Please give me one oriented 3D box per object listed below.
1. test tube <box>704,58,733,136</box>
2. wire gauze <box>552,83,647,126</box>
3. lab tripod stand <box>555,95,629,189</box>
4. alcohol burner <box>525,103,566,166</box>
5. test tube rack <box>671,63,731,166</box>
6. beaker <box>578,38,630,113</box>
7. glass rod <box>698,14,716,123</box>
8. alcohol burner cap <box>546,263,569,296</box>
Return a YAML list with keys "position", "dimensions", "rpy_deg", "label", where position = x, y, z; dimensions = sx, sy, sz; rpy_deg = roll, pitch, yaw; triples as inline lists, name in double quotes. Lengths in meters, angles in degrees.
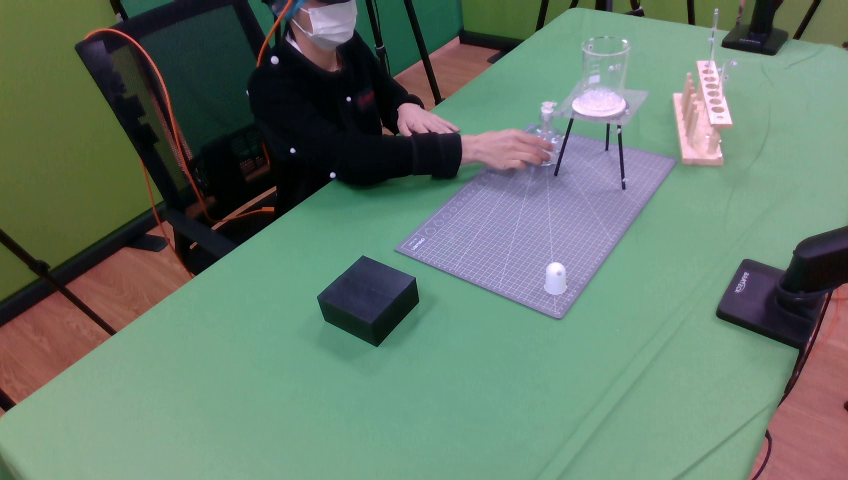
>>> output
- position: [0.516, -0.247, 1.062]
  dimensions: [0.017, 0.151, 0.017]
  rpy_deg: [-3, 43, 4]
  label: "test tube"
- position: [0.293, -0.224, 1.004]
  dimensions: [0.120, 0.011, 0.125]
  rpy_deg: [19, 43, 26]
  label: "wire gauze"
- position: [0.301, -0.175, 1.045]
  dimensions: [0.148, 0.132, 0.147]
  rpy_deg: [-5, 38, 5]
  label: "lab tripod stand"
- position: [0.223, -0.195, 1.097]
  dimensions: [0.078, 0.119, 0.077]
  rpy_deg: [-2, 40, 2]
  label: "alcohol burner"
- position: [0.513, -0.241, 1.132]
  dimensions: [0.066, 0.085, 0.242]
  rpy_deg: [4, 41, 14]
  label: "test tube rack"
- position: [0.290, -0.265, 0.976]
  dimensions: [0.084, 0.101, 0.073]
  rpy_deg: [-18, 41, -14]
  label: "beaker"
- position: [0.531, -0.320, 1.136]
  dimensions: [0.008, 0.200, 0.008]
  rpy_deg: [3, 12, 0]
  label: "glass rod"
- position: [0.191, 0.053, 0.862]
  dimensions: [0.034, 0.048, 0.033]
  rpy_deg: [-5, 40, 4]
  label: "alcohol burner cap"
